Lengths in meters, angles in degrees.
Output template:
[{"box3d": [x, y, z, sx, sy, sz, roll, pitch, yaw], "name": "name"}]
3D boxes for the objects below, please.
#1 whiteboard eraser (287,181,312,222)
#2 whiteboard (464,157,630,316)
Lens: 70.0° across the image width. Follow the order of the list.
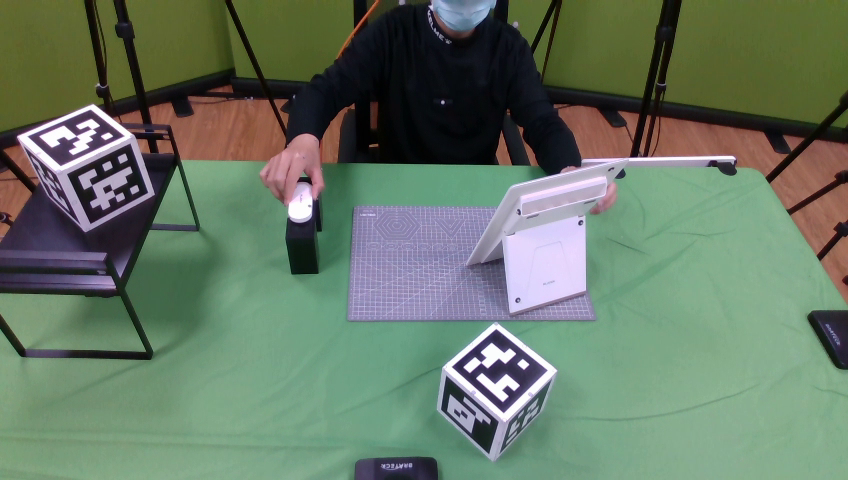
[{"box3d": [-0.228, -0.071, 1.110, 0.041, 0.019, 0.100, -2, 46, -3], "name": "whiteboard eraser"}, {"box3d": [0.224, 0.014, 1.042, 0.217, 0.306, 0.143, -14, 68, -17], "name": "whiteboard"}]
